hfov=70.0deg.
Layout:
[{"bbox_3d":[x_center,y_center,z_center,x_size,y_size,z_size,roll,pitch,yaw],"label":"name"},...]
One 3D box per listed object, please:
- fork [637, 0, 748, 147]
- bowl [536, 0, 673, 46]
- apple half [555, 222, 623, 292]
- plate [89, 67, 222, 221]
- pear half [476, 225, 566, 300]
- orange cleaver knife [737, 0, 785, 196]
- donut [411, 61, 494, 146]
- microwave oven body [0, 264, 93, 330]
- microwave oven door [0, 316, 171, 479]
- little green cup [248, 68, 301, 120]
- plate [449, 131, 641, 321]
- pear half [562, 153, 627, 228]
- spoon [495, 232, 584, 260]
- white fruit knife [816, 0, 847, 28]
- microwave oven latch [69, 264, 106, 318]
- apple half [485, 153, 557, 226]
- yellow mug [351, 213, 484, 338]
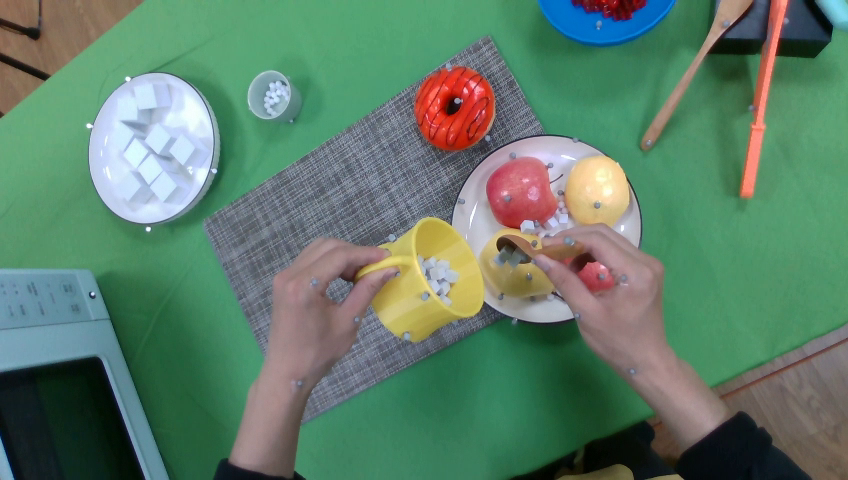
[{"bbox_3d":[0.275,-0.184,0.613,0.028,0.018,0.208,29,117,7],"label":"fork"},{"bbox_3d":[0.194,-0.273,0.644,0.151,0.077,0.151,0,89,17],"label":"bowl"},{"bbox_3d":[0.167,0.020,0.645,0.080,0.033,0.081,6,101,39],"label":"apple half"},{"bbox_3d":[-0.363,-0.128,0.829,0.207,0.039,0.207,0,89,17],"label":"plate"},{"bbox_3d":[0.111,0.032,0.665,0.109,0.056,0.076,35,103,10],"label":"pear half"},{"bbox_3d":[0.332,-0.150,0.597,0.012,0.077,0.213,8,116,22],"label":"orange cleaver knife"},{"bbox_3d":[0.032,-0.158,0.703,0.098,0.048,0.099,0,91,19],"label":"donut"},{"bbox_3d":[-0.554,0.292,0.757,0.326,0.261,0.440,-27,82,14],"label":"microwave oven body"},{"bbox_3d":[-0.412,0.266,0.709,0.039,0.245,0.354,-27,81,14],"label":"microwave oven door"},{"bbox_3d":[-0.190,-0.184,0.778,0.061,0.039,0.061,-1,88,17],"label":"little green cup"},{"bbox_3d":[0.132,-0.015,0.674,0.208,0.038,0.209,-1,88,17],"label":"plate"},{"bbox_3d":[0.177,-0.048,0.646,0.070,0.031,0.088,4,100,40],"label":"pear half"},{"bbox_3d":[0.099,0.007,0.530,0.042,0.193,0.021,39,86,-6],"label":"spoon"},{"bbox_3d":[0.351,-0.287,0.578,0.027,0.016,0.206,-23,79,-14],"label":"white fruit knife"},{"bbox_3d":[-0.472,0.072,0.838,0.030,0.029,0.079,-25,82,14],"label":"microwave oven latch"},{"bbox_3d":[0.104,-0.055,0.665,0.074,0.053,0.080,-12,88,17],"label":"apple half"},{"bbox_3d":[-0.010,0.032,0.549,0.064,0.132,0.099,-31,64,33],"label":"yellow mug"}]
